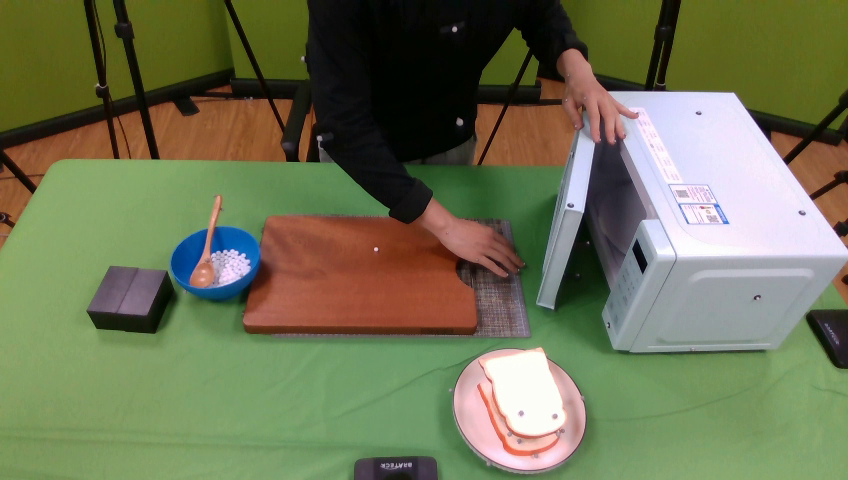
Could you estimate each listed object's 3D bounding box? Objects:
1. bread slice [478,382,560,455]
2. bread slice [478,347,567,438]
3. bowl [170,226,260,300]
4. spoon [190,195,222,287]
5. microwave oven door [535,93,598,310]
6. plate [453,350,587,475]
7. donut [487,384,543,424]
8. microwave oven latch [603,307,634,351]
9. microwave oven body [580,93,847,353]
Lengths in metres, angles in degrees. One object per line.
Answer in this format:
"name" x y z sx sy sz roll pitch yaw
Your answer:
"bread slice" 0.154 0.268 0.944 0.105 0.019 0.130 -10 47 -12
"bread slice" 0.152 0.227 0.902 0.107 0.018 0.133 -11 53 -16
"bowl" -0.365 0.054 1.080 0.151 0.077 0.150 2 45 -2
"spoon" -0.384 0.000 1.088 0.041 0.022 0.193 -1 66 7
"microwave oven door" 0.270 -0.081 1.125 0.039 0.245 0.354 14 46 9
"plate" 0.146 0.267 0.943 0.208 0.039 0.206 3 46 -2
"donut" 0.146 0.242 0.928 0.099 0.048 0.098 -3 40 3
"microwave oven latch" 0.332 0.153 1.044 0.030 0.029 0.078 0 45 -3
"microwave oven body" 0.475 -0.041 1.109 0.326 0.261 0.438 -1 45 -4
